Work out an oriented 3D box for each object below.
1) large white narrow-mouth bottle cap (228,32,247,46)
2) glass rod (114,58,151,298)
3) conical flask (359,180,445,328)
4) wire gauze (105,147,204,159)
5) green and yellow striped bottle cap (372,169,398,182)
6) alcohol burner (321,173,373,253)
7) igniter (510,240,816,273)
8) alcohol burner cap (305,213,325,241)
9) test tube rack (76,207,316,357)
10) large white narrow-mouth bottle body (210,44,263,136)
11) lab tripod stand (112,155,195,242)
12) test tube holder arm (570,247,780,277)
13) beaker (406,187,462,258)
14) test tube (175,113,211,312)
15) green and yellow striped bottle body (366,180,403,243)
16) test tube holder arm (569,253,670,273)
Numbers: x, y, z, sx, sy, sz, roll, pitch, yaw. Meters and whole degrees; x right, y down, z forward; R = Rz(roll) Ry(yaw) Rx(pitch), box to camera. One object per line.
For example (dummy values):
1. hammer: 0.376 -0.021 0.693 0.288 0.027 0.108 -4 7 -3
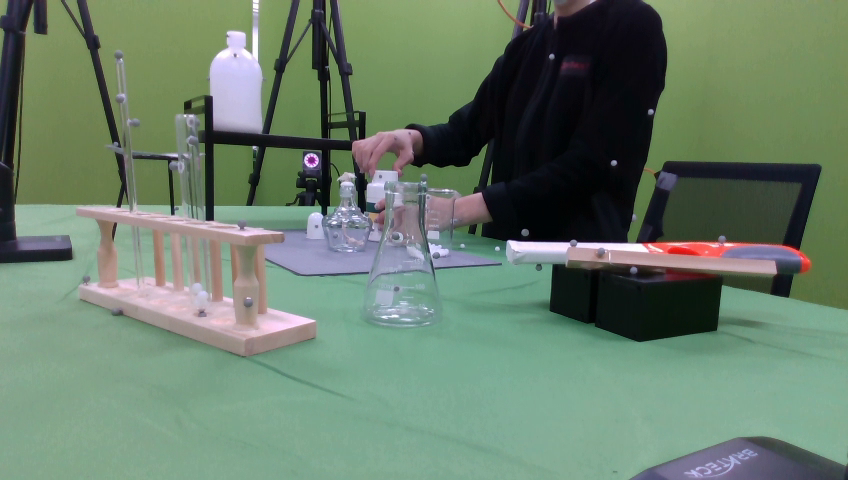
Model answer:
1. large white narrow-mouth bottle cap: -0.364 -0.391 1.180 0.038 0.024 0.037 3 8 0
2. glass rod: -0.236 -0.044 0.492 0.008 0.199 0.008 0 15 0
3. conical flask: -0.017 0.010 0.522 0.075 0.122 0.075 2 7 0
4. wire gauze: -0.407 -0.131 0.928 0.125 0.011 0.121 2 6 -11
5. green and yellow striped bottle cap: -0.065 -0.110 1.029 0.045 0.020 0.045 3 7 0
6. alcohol burner: -0.115 -0.041 0.905 0.078 0.119 0.078 1 6 0
7. igniter: 0.220 0.015 0.565 0.277 0.025 0.057 2 16 0
8. alcohol burner cap: -0.185 -0.023 1.027 0.034 0.048 0.034 2 6 0
9. test tube rack: -0.196 0.023 0.499 0.241 0.085 0.067 8 9 36
10. large white narrow-mouth bottle body: -0.369 -0.305 1.194 0.102 0.194 0.102 3 8 0
11. lab tripod stand: -0.405 -0.064 0.931 0.148 0.131 0.148 1 6 0
12. test tube holder arm: 0.217 0.019 0.525 0.178 0.015 0.013 3 -23 3
13. beaker: 0.013 -0.026 0.892 0.084 0.100 0.074 3 8 -2
14. test tube: -0.174 -0.020 0.458 0.017 0.150 0.017 -3 5 1
15. green and yellow striped bottle body: -0.067 -0.058 1.036 0.063 0.119 0.063 3 8 0
16. test tube holder arm: 0.172 0.019 0.532 0.088 0.015 0.010 3 -23 3
